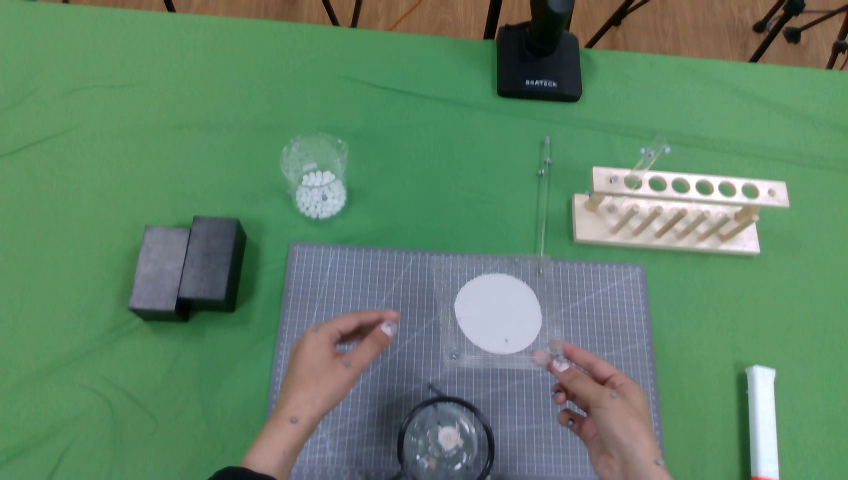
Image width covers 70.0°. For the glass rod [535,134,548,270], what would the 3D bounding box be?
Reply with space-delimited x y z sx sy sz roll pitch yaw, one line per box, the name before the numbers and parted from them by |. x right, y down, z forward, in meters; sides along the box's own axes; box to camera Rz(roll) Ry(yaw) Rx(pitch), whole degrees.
glass rod | 0.156 -0.054 0.797 0.008 0.008 0.198 9 69 -2

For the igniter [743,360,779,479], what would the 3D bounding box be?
igniter | 0.380 0.273 0.679 0.057 0.025 0.274 14 68 -10

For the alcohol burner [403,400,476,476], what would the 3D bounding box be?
alcohol burner | 0.018 0.202 0.625 0.078 0.120 0.077 3 66 -5

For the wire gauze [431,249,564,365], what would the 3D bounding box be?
wire gauze | 0.071 0.063 0.592 0.125 0.011 0.120 2 62 -8

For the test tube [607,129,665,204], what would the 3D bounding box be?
test tube | 0.250 -0.084 0.724 0.017 0.151 0.017 2 65 -3

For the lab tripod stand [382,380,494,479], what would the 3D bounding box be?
lab tripod stand | 0.014 0.205 0.612 0.148 0.132 0.147 1 67 -2

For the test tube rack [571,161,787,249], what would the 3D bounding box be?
test tube rack | 0.318 -0.042 0.766 0.242 0.085 0.066 4 68 -3

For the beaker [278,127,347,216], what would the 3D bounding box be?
beaker | -0.129 -0.080 0.733 0.084 0.101 0.073 -34 75 -17
